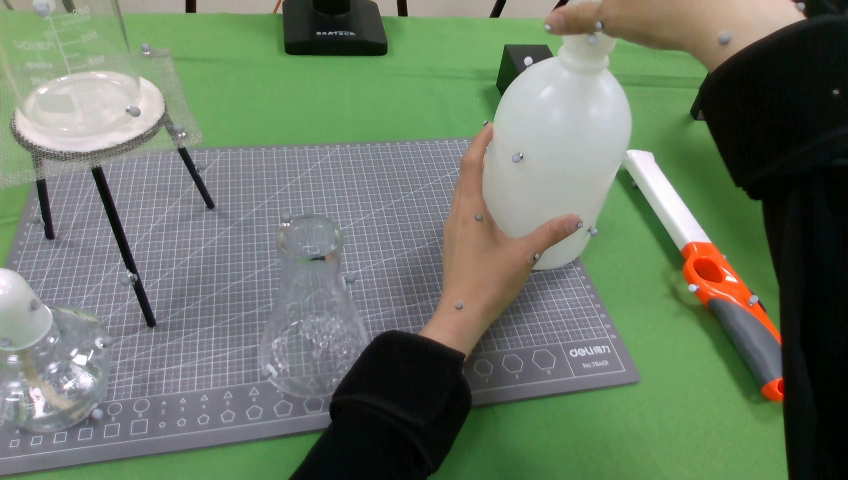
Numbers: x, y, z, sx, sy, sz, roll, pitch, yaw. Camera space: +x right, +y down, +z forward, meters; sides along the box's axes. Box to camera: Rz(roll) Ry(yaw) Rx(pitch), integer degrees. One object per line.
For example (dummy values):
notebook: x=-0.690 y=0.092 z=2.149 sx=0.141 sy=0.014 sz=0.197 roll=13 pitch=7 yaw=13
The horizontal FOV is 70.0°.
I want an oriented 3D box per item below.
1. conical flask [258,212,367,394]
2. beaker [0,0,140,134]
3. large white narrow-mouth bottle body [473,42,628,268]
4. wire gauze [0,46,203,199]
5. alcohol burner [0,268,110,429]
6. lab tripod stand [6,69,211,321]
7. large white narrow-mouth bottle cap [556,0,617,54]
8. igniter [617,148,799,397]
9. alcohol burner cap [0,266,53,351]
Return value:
conical flask: x=-0.072 y=0.038 z=0.385 sx=0.075 sy=0.123 sz=0.074 roll=4 pitch=46 yaw=-4
beaker: x=-0.211 y=-0.118 z=0.344 sx=0.084 sy=0.101 sz=0.073 roll=-10 pitch=50 yaw=-17
large white narrow-mouth bottle body: x=0.099 y=-0.074 z=0.466 sx=0.102 sy=0.196 sz=0.101 roll=4 pitch=46 yaw=-3
wire gauze: x=-0.212 y=-0.082 z=0.379 sx=0.122 sy=0.011 sz=0.123 roll=-17 pitch=55 yaw=-21
alcohol burner: x=-0.227 y=0.058 z=0.348 sx=0.078 sy=0.120 sz=0.077 roll=6 pitch=45 yaw=-5
lab tripod stand: x=-0.215 y=-0.036 z=0.425 sx=0.148 sy=0.132 sz=0.147 roll=6 pitch=47 yaw=-6
large white narrow-mouth bottle cap: x=0.106 y=-0.141 z=0.397 sx=0.038 sy=0.024 sz=0.037 roll=4 pitch=46 yaw=-4
igniter: x=0.236 y=0.012 z=0.525 sx=0.057 sy=0.025 sz=0.273 roll=4 pitch=45 yaw=-20
alcohol burner cap: x=-0.223 y=0.034 z=0.321 sx=0.034 sy=0.048 sz=0.033 roll=4 pitch=52 yaw=-5
